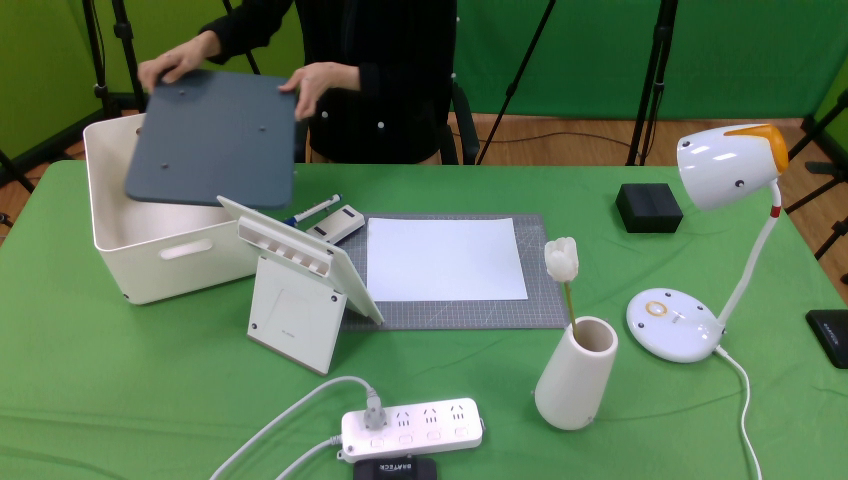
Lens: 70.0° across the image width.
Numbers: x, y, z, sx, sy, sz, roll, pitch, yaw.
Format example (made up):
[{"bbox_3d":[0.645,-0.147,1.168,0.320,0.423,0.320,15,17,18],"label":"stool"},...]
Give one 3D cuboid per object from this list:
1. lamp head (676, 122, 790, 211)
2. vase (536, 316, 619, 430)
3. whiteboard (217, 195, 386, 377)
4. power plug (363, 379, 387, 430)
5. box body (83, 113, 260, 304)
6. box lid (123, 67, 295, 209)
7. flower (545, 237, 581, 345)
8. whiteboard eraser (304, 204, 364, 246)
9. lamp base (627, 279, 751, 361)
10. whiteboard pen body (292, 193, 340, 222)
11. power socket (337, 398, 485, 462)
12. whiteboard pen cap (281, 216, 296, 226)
[{"bbox_3d":[0.423,-0.104,0.819,0.122,0.113,0.112,-13,33,40],"label":"lamp head"},{"bbox_3d":[0.229,0.200,0.901,0.098,0.201,0.097,3,46,-3],"label":"vase"},{"bbox_3d":[-0.212,0.093,0.938,0.216,0.307,0.143,24,70,18],"label":"whiteboard"},{"bbox_3d":[-0.071,0.252,0.911,0.035,0.053,0.072,3,40,0],"label":"power plug"},{"bbox_3d":[-0.465,-0.077,1.137,0.254,0.161,0.361,-16,50,-19],"label":"box body"},{"bbox_3d":[-0.370,-0.192,1.096,0.264,0.015,0.369,2,48,-13],"label":"box lid"},{"bbox_3d":[0.213,0.137,0.847,0.038,0.364,0.044,21,55,39],"label":"flower"},{"bbox_3d":[-0.175,-0.022,1.187,0.055,0.042,0.112,36,53,25],"label":"whiteboard eraser"},{"bbox_3d":[0.460,0.100,1.027,0.178,0.181,0.160,27,51,17],"label":"lamp base"},{"bbox_3d":[-0.231,-0.062,1.243,0.141,0.017,0.017,-31,56,-30],"label":"whiteboard pen body"},{"bbox_3d":[-0.018,0.285,0.914,0.227,0.033,0.071,-4,46,-8],"label":"power socket"},{"bbox_3d":[-0.273,-0.034,1.213,0.033,0.018,0.018,-31,56,-32],"label":"whiteboard pen cap"}]
